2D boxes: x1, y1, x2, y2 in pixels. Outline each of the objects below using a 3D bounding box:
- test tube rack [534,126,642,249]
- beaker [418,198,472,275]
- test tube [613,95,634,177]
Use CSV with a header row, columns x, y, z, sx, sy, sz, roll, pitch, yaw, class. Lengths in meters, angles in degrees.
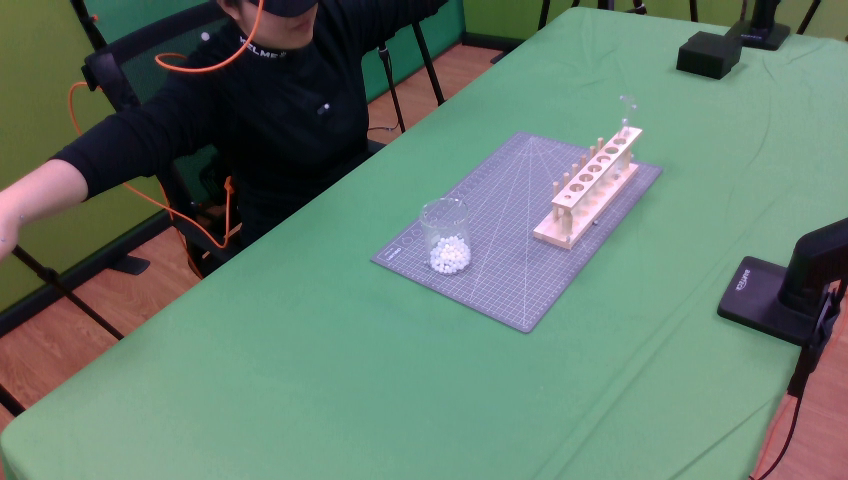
x,y,z,sx,sy,sz,roll,pitch,yaw,class
0.271,-0.095,0.989,0.066,0.085,0.243,23,49,33,test tube rack
0.037,-0.004,0.916,0.073,0.101,0.084,24,49,33,beaker
0.324,-0.166,0.987,0.017,0.151,0.017,-3,42,4,test tube
